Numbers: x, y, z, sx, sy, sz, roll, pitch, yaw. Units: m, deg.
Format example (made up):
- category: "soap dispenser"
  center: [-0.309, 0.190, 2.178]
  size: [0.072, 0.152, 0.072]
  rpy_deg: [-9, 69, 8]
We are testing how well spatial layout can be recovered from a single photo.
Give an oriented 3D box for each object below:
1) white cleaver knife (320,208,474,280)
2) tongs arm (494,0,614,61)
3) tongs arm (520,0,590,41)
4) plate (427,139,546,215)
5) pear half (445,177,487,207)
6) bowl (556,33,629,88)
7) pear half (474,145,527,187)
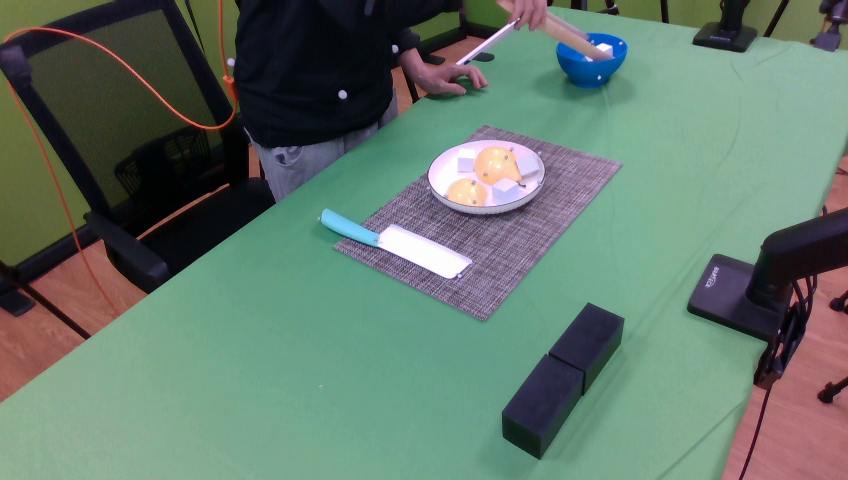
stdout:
- category: "white cleaver knife"
  center: [-0.053, 0.001, 0.978]
  size: [0.284, 0.021, 0.066]
  rpy_deg: [23, 40, 26]
- category: "tongs arm"
  center: [0.267, -0.402, 1.172]
  size: [0.388, 0.026, 0.050]
  rpy_deg: [3, 46, -48]
- category: "tongs arm"
  center: [0.241, -0.440, 1.197]
  size: [0.391, 0.027, 0.028]
  rpy_deg: [-2, 53, -51]
- category: "plate"
  center: [0.109, -0.106, 1.059]
  size: [0.207, 0.039, 0.206]
  rpy_deg: [-4, 41, 4]
- category: "pear half"
  center: [0.073, -0.086, 1.032]
  size: [0.070, 0.031, 0.087]
  rpy_deg: [-21, 37, -10]
- category: "bowl"
  center: [0.362, -0.385, 1.319]
  size: [0.151, 0.077, 0.150]
  rpy_deg: [-4, 40, 4]
- category: "pear half"
  center: [0.140, -0.129, 1.059]
  size: [0.076, 0.056, 0.109]
  rpy_deg: [-37, 52, -24]
